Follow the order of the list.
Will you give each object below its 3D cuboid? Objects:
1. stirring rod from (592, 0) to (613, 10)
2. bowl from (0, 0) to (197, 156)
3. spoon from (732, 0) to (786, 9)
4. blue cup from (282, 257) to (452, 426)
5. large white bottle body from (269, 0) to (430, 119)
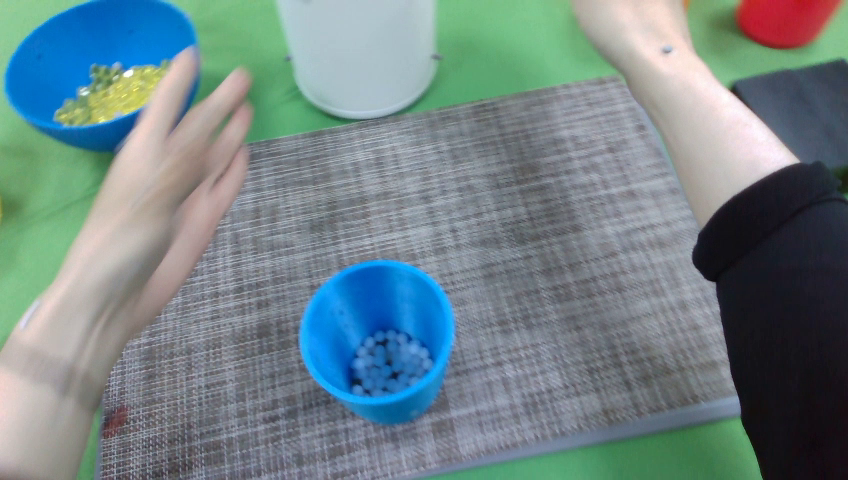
[{"bbox_3d":[0.227,-0.251,0.535,0.175,0.006,0.014,-20,48,41],"label":"stirring rod"},{"bbox_3d":[-0.258,-0.125,0.514,0.151,0.077,0.150,-1,59,2],"label":"bowl"},{"bbox_3d":[0.360,-0.231,0.515,0.041,0.022,0.192,-51,26,-21],"label":"spoon"},{"bbox_3d":[-0.023,0.072,0.372,0.092,0.101,0.092,-2,60,4],"label":"blue cup"},{"bbox_3d":[-0.062,-0.206,0.491,0.130,0.186,0.129,-1,59,2],"label":"large white bottle body"}]
